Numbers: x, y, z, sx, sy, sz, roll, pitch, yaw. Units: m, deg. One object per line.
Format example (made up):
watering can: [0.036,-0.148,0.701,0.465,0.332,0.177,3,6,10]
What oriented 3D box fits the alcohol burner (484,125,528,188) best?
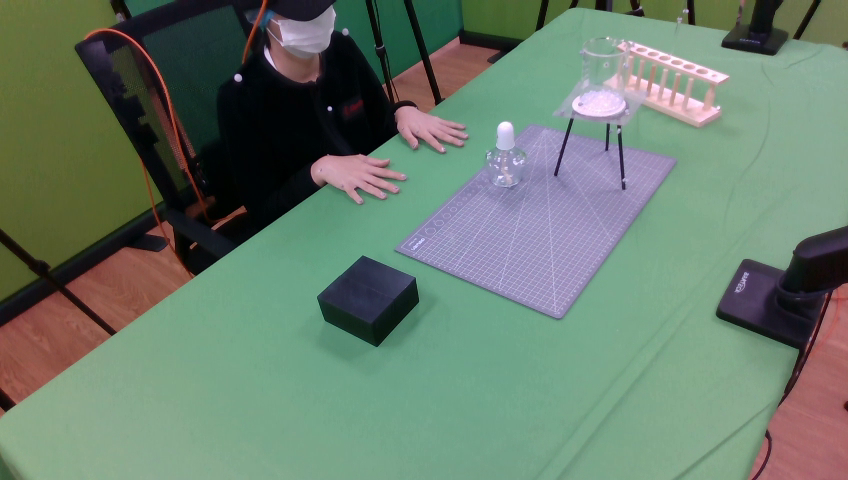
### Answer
alcohol burner: [0.144,-0.152,1.059,0.078,0.119,0.077,-3,41,3]

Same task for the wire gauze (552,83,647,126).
wire gauze: [0.293,-0.224,1.004,0.120,0.011,0.125,19,43,26]

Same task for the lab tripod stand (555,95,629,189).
lab tripod stand: [0.300,-0.174,1.045,0.148,0.132,0.147,-5,38,5]

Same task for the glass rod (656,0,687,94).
glass rod: [0.491,-0.381,1.199,0.008,0.200,0.008,1,41,0]

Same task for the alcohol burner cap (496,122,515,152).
alcohol burner cap: [0.139,-0.179,1.037,0.034,0.048,0.033,-4,44,4]

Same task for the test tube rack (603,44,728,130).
test tube rack: [0.480,-0.316,1.227,0.067,0.085,0.240,-28,44,-22]

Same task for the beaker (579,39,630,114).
beaker: [0.289,-0.263,0.975,0.073,0.101,0.084,17,45,27]
